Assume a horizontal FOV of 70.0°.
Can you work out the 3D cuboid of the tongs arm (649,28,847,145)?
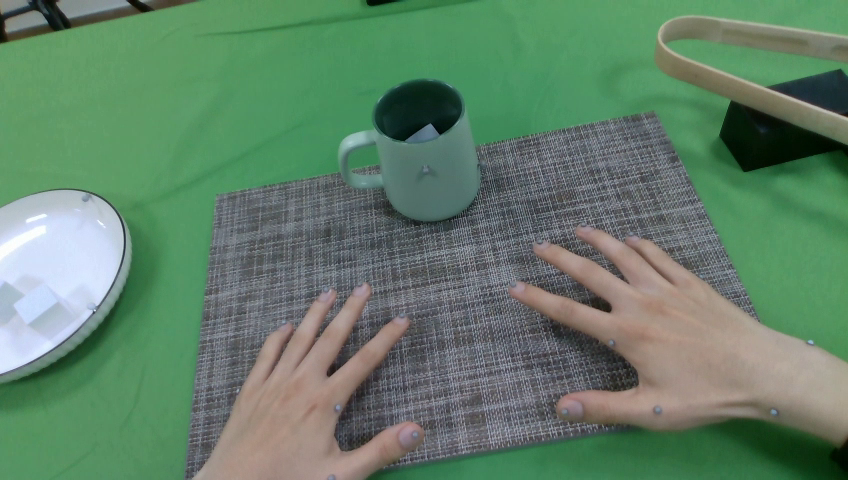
[{"bbox_3d":[0.350,-0.089,0.480,0.384,0.028,0.028,33,73,27],"label":"tongs arm"}]

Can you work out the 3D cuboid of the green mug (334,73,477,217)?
[{"bbox_3d":[-0.017,-0.078,0.540,0.125,0.106,0.091,-12,55,2],"label":"green mug"}]

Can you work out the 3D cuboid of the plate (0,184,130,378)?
[{"bbox_3d":[-0.372,0.038,0.565,0.209,0.038,0.207,-4,55,6],"label":"plate"}]

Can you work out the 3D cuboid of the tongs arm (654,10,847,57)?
[{"bbox_3d":[0.392,-0.147,0.510,0.382,0.027,0.050,21,65,22],"label":"tongs arm"}]
